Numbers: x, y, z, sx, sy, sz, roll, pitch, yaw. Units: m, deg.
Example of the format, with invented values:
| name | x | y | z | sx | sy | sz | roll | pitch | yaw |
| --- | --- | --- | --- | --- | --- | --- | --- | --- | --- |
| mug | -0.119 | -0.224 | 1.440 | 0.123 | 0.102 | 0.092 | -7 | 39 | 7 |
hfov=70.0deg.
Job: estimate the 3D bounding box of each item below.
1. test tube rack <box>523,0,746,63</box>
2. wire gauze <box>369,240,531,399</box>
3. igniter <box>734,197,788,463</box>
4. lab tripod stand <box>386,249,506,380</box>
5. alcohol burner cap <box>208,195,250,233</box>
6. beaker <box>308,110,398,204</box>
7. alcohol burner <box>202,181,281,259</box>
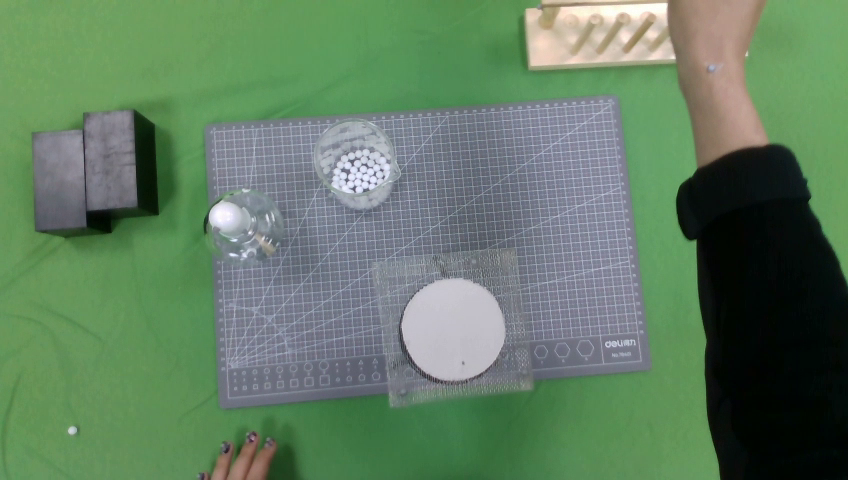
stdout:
| name | x | y | z | sx | sy | sz | roll | pitch | yaw |
| --- | --- | --- | --- | --- | --- | --- | --- | --- | --- |
| test tube rack | 0.233 | -0.240 | 0.636 | 0.242 | 0.085 | 0.066 | -4 | 84 | -2 |
| wire gauze | 0.022 | 0.065 | 0.507 | 0.125 | 0.011 | 0.121 | -6 | 84 | -3 |
| igniter | 0.353 | 0.092 | 0.639 | 0.057 | 0.025 | 0.276 | 1 | 85 | -12 |
| lab tripod stand | 0.018 | 0.075 | 0.573 | 0.148 | 0.132 | 0.148 | 0 | 84 | 0 |
| alcohol burner cap | -0.178 | -0.025 | 0.549 | 0.034 | 0.048 | 0.034 | 0 | 86 | -5 |
| beaker | -0.065 | -0.076 | 0.601 | 0.084 | 0.100 | 0.074 | 20 | 85 | 0 |
| alcohol burner | -0.180 | -0.022 | 0.585 | 0.078 | 0.119 | 0.077 | 0 | 82 | -1 |
